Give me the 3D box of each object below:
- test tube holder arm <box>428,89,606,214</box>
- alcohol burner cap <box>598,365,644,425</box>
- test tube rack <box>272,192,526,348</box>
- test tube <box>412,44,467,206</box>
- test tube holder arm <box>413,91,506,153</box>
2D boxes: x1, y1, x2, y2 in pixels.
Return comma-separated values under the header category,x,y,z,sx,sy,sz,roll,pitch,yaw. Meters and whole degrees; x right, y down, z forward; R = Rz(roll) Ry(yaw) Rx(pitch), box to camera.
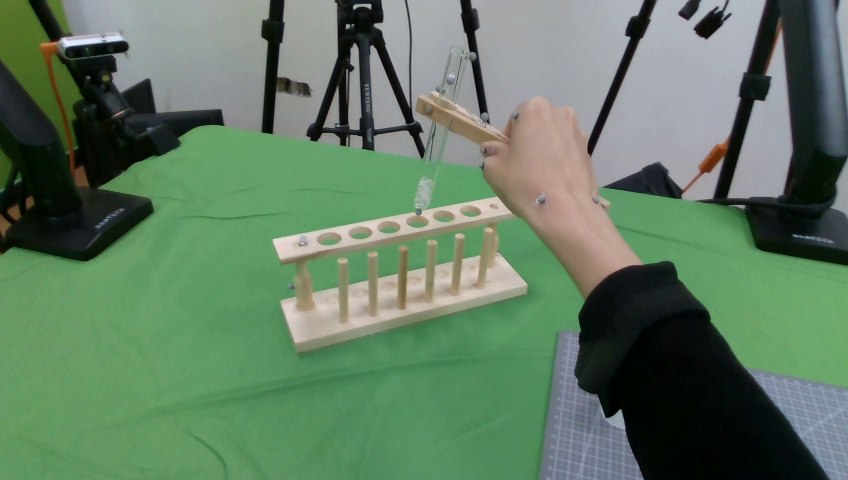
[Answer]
category,x,y,z,sx,sy,sz,roll,pitch,yaw
test tube holder arm,0.065,-0.073,0.468,0.177,0.015,0.013,38,43,27
alcohol burner cap,0.162,0.123,0.493,0.034,0.048,0.033,2,35,-1
test tube rack,-0.016,0.024,0.592,0.243,0.086,0.066,-12,37,-20
test tube,0.010,-0.091,0.508,0.017,0.151,0.017,10,39,-7
test tube holder arm,0.029,-0.095,0.482,0.087,0.015,0.010,32,40,20
